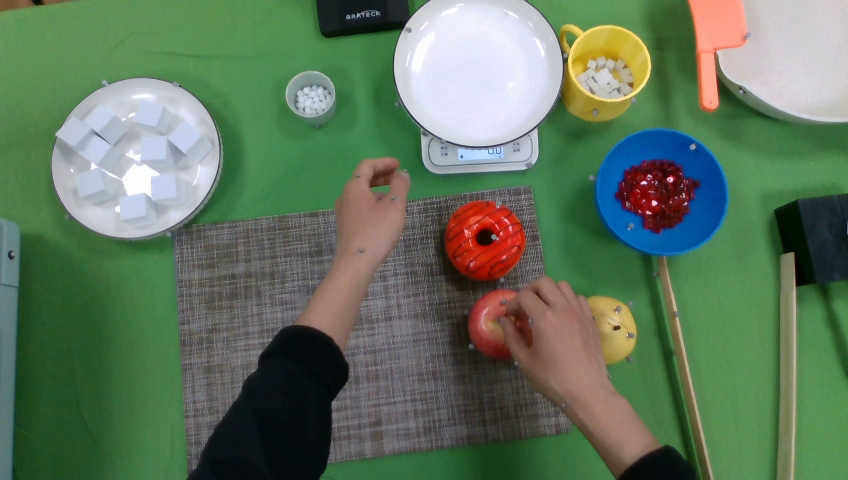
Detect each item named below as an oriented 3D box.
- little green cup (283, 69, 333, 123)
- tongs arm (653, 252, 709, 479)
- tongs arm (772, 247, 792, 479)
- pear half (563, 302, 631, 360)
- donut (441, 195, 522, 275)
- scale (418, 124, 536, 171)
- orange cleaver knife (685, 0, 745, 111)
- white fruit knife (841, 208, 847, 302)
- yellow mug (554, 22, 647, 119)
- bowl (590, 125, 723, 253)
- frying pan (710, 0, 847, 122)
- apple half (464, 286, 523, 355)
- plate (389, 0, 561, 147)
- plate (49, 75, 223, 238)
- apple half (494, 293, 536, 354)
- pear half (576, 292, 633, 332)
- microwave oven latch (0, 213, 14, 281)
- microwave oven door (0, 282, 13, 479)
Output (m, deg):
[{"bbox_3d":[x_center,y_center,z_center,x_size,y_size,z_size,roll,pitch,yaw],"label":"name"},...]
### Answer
[{"bbox_3d":[-0.144,-0.180,0.768,0.061,0.039,0.061,0,80,0],"label":"little green cup"},{"bbox_3d":[0.326,0.199,0.706,0.051,0.026,0.383,-6,81,-6],"label":"tongs arm"},{"bbox_3d":[0.412,0.198,0.711,0.028,0.028,0.386,9,81,-6],"label":"tongs arm"},{"bbox_3d":[0.195,0.107,0.683,0.076,0.110,0.056,24,80,8],"label":"pear half"},{"bbox_3d":[0.069,-0.006,0.732,0.099,0.048,0.098,0,81,2],"label":"donut"},{"bbox_3d":[0.064,-0.190,0.774,0.149,0.031,0.200,-3,80,0],"label":"scale"},{"bbox_3d":[0.348,-0.259,0.733,0.077,0.012,0.210,-2,81,2],"label":"orange cleaver knife"},{"bbox_3d":[0.502,0.065,0.708,0.016,0.027,0.207,-9,95,-2],"label":"white fruit knife"},{"bbox_3d":[0.210,-0.223,0.763,0.100,0.064,0.130,-39,81,-6],"label":"yellow mug"},{"bbox_3d":[0.267,-0.053,0.728,0.151,0.077,0.151,0,81,0],"label":"bowl"},{"bbox_3d":[0.540,-0.200,0.742,0.307,0.103,0.484,-34,74,-5],"label":"frying pan"},{"bbox_3d":[0.074,0.087,0.701,0.053,0.075,0.080,26,84,8],"label":"apple half"},{"bbox_3d":[0.062,-0.210,0.745,0.209,0.038,0.208,0,80,-1],"label":"plate"},{"bbox_3d":[-0.351,-0.102,0.754,0.208,0.039,0.207,0,80,0],"label":"plate"},{"bbox_3d":[0.110,0.103,0.697,0.032,0.081,0.081,26,80,10],"label":"apple half"},{"bbox_3d":[0.212,0.078,0.699,0.070,0.088,0.031,23,81,7],"label":"pear half"},{"bbox_3d":[-0.505,0.008,0.715,0.030,0.029,0.079,-2,81,-1],"label":"microwave oven latch"},{"bbox_3d":[-0.491,0.205,0.577,0.039,0.244,0.354,-5,80,-1],"label":"microwave oven door"}]
